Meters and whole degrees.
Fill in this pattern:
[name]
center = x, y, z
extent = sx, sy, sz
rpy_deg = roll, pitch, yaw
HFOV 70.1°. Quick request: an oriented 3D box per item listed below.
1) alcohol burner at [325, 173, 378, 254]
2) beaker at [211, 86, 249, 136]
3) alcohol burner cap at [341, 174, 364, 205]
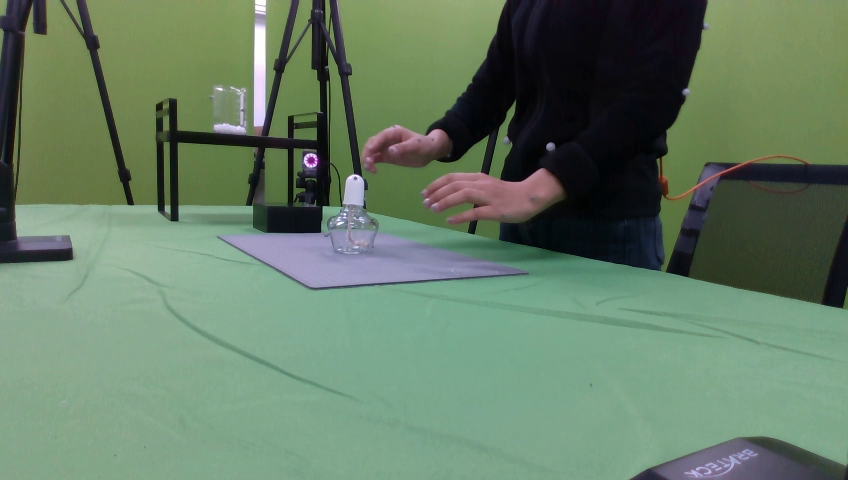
[alcohol burner]
center = -0.106, -0.040, 0.895
extent = 0.078, 0.119, 0.078
rpy_deg = 2, 5, 0
[beaker]
center = -0.413, -0.274, 1.297
extent = 0.074, 0.100, 0.083
rpy_deg = -5, 11, -44
[alcohol burner cap]
center = -0.104, -0.074, 0.892
extent = 0.034, 0.048, 0.034
rpy_deg = 4, 3, 0
